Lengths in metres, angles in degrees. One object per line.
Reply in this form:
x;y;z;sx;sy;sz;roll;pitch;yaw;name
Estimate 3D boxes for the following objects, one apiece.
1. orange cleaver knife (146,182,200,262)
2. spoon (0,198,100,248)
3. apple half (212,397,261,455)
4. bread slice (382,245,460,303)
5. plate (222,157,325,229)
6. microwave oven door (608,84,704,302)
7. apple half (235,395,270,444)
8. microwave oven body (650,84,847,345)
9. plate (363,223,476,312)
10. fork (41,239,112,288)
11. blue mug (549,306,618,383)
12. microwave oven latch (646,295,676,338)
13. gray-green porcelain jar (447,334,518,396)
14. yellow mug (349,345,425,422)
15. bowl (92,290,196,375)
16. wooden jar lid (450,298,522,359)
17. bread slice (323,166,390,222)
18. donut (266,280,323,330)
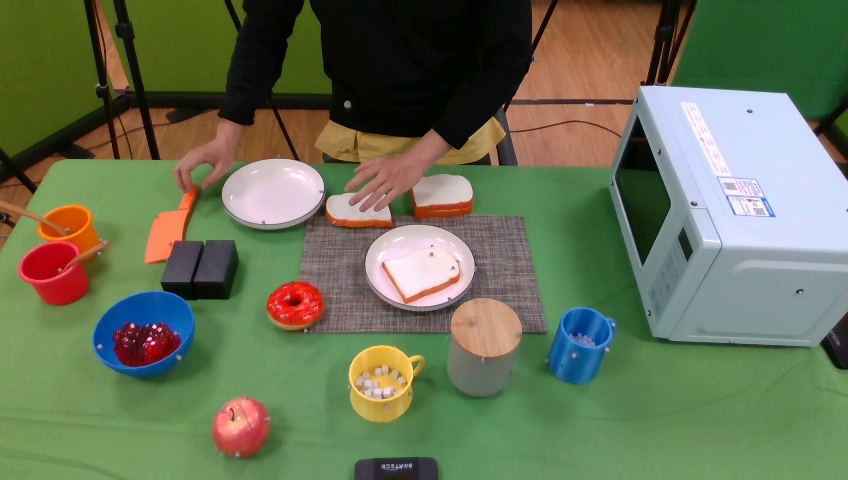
-0.494;-0.039;1.198;0.077;0.012;0.210;-3;48;1;orange cleaver knife
-0.684;-0.035;1.092;0.021;0.195;0.041;-32;42;28;spoon
-0.276;0.276;0.877;0.053;0.075;0.080;-29;58;-21;apple half
0.000;0.054;1.129;0.131;0.019;0.104;-20;52;-20;bread slice
-0.308;-0.094;1.251;0.209;0.038;0.208;2;46;-2;plate
0.424;-0.096;1.138;0.039;0.245;0.353;3;46;-1;microwave oven door
-0.245;0.259;0.893;0.033;0.082;0.081;-29;55;-22;apple half
0.569;-0.054;1.116;0.326;0.261;0.439;2;46;-1;microwave oven body
-0.009;0.054;1.126;0.208;0.039;0.206;2;47;-2;plate
-0.591;0.040;1.028;0.207;0.019;0.028;-27;36;29;fork
0.269;0.167;0.997;0.116;0.106;0.082;-19;51;-21;blue mug
0.413;0.133;1.060;0.030;0.029;0.078;4;46;1;microwave oven latch
0.091;0.178;0.960;0.106;0.127;0.105;2;46;-2;gray-green porcelain jar
-0.054;0.217;0.954;0.131;0.064;0.099;-23;52;-25;yellow mug
-0.436;0.161;0.971;0.151;0.077;0.150;2;46;-2;bowl
0.093;0.135;0.914;0.108;0.021;0.107;2;48;-3;wooden jar lid
-0.140;-0.092;1.224;0.134;0.018;0.106;-19;50;6;bread slice
-0.223;0.113;1.051;0.099;0.048;0.098;2;46;-2;donut
